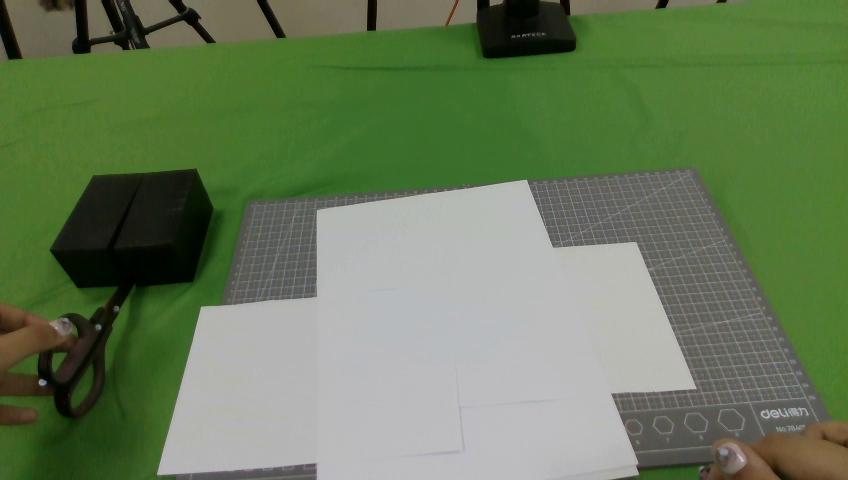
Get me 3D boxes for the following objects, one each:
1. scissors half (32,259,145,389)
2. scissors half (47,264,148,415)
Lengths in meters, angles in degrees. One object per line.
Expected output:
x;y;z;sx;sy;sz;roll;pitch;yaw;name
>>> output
-0.260;0.055;0.485;0.013;0.040;0.174;-3;23;1;scissors half
-0.257;0.072;0.495;0.013;0.040;0.173;-8;36;4;scissors half
